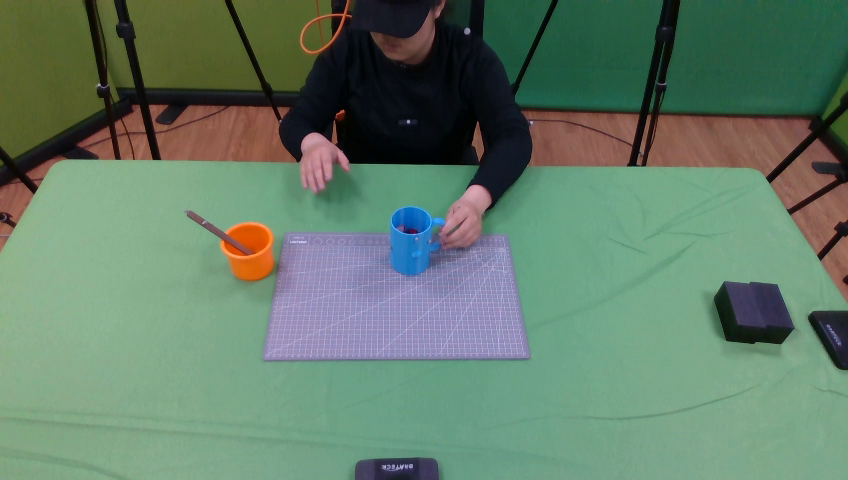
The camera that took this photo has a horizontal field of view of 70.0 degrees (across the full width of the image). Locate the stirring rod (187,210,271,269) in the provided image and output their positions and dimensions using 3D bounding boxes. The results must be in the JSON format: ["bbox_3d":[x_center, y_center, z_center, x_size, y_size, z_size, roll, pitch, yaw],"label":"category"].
[{"bbox_3d":[-0.349,0.001,1.092,0.177,0.006,0.014,39,35,-27],"label":"stirring rod"}]

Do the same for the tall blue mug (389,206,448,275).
[{"bbox_3d":[-0.016,-0.006,1.140,0.077,0.108,0.107,33,52,26],"label":"tall blue mug"}]
